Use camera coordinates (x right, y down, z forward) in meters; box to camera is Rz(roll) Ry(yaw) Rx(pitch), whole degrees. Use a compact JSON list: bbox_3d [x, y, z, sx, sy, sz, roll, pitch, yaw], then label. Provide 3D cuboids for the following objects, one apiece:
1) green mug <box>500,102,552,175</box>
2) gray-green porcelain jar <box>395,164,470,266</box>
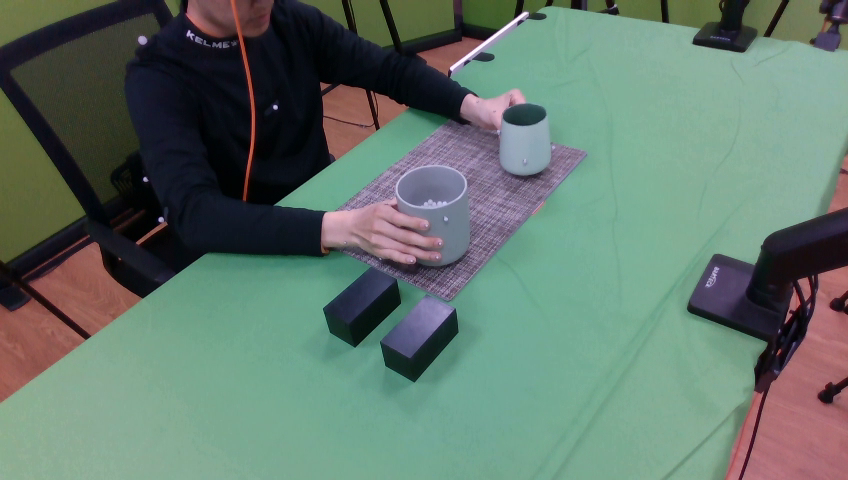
[{"bbox_3d":[0.175,-0.187,1.077,0.092,0.105,0.124,-13,41,-4],"label":"green mug"},{"bbox_3d":[0.016,-0.033,0.907,0.106,0.127,0.105,-3,43,4],"label":"gray-green porcelain jar"}]
